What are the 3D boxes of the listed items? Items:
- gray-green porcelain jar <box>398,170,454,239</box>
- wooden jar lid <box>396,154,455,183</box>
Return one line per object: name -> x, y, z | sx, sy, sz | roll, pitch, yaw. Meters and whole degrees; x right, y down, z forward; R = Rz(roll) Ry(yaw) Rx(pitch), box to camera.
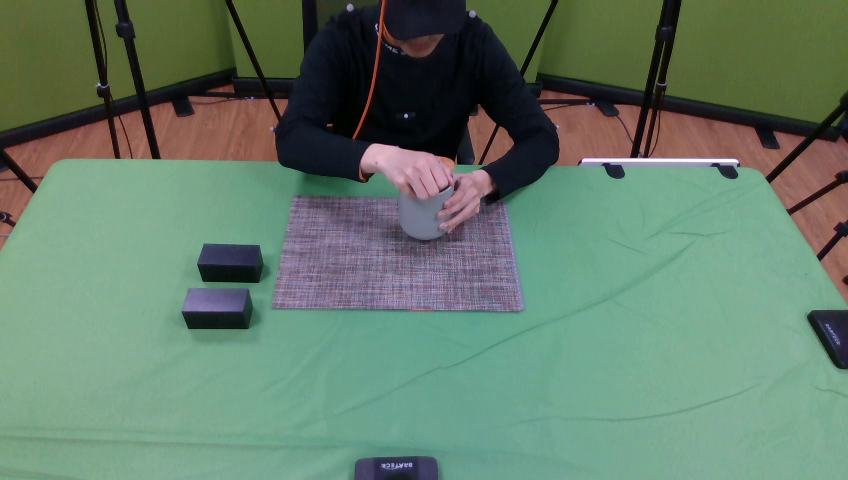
gray-green porcelain jar -> 0.003, -0.074, 1.160 | 0.106, 0.127, 0.105 | 1, 46, 0
wooden jar lid -> 0.003, -0.129, 1.105 | 0.108, 0.021, 0.108 | -7, 26, 4
